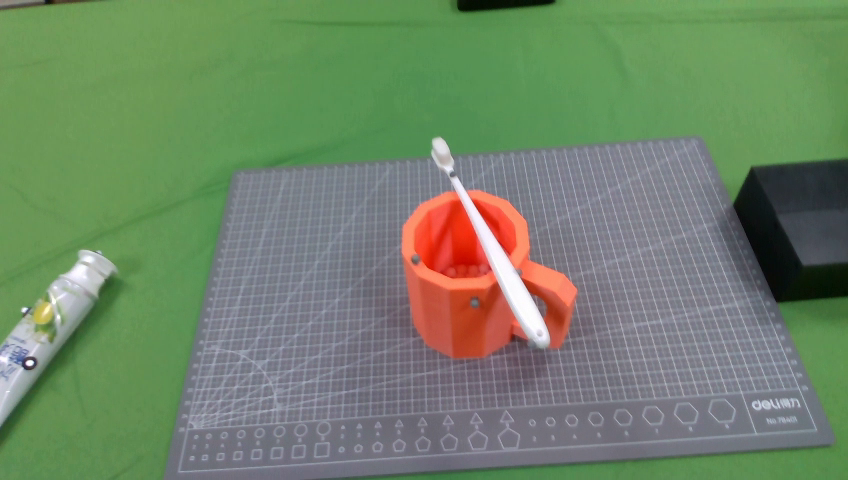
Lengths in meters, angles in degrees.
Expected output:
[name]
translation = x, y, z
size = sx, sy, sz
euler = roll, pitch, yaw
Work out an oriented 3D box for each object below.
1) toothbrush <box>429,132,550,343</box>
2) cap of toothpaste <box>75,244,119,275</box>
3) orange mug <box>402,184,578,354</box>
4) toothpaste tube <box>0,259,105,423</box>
[toothbrush]
translation = 0.038, -0.010, 0.396
size = 0.014, 0.017, 0.180
euler = -17, 54, -11
[cap of toothpaste]
translation = -0.275, 0.018, 0.508
size = 0.037, 0.038, 0.011
euler = 9, 53, 11
[orange mug]
translation = 0.046, 0.028, 0.432
size = 0.125, 0.102, 0.083
euler = 20, 57, 24
[toothpaste tube]
translation = -0.309, 0.081, 0.470
size = 0.055, 0.035, 0.164
euler = 13, 58, 22
